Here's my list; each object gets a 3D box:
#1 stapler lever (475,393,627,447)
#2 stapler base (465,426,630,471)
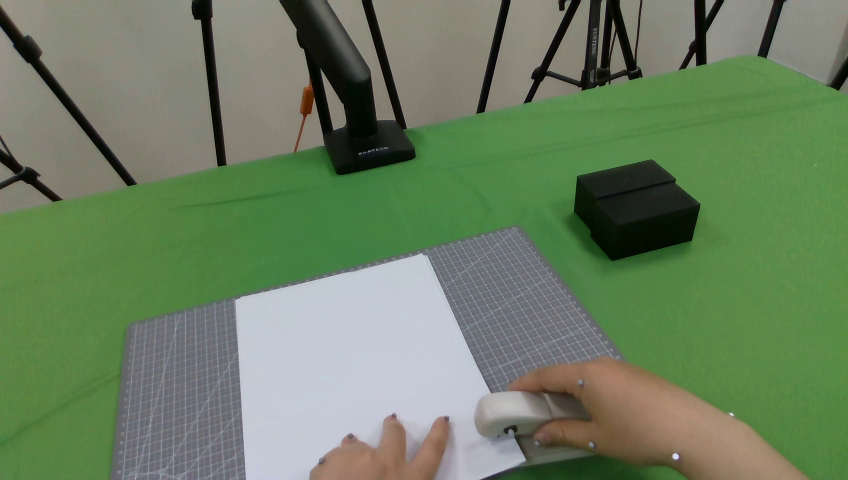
[{"bbox_3d":[0.098,0.137,0.473,0.118,0.040,0.026,-10,42,-2],"label":"stapler lever"},{"bbox_3d":[0.099,0.154,0.486,0.131,0.024,0.041,-6,42,-5],"label":"stapler base"}]
